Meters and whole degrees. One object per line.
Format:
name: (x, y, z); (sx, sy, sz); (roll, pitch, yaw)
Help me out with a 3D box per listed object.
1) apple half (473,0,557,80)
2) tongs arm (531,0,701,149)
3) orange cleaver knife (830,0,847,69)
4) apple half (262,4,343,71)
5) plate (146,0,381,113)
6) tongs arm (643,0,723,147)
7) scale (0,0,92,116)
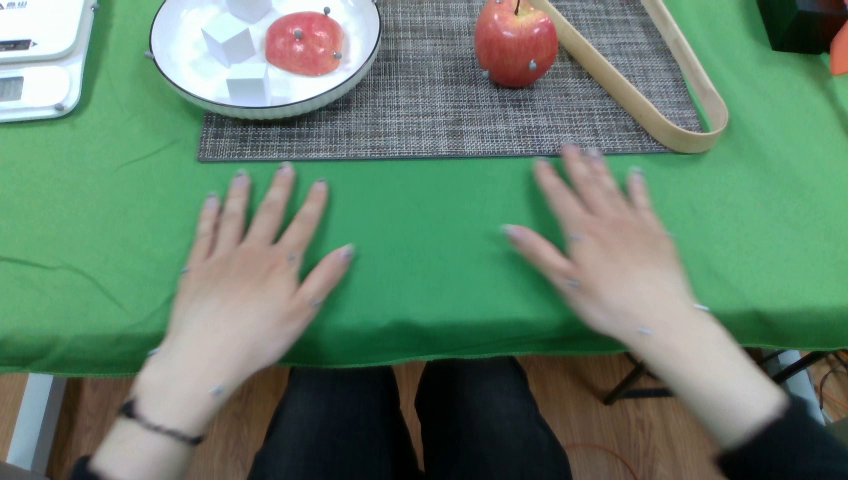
apple half: (0.074, -0.181, 0.547); (0.053, 0.075, 0.080); (-37, 71, -17)
tongs arm: (0.133, -0.230, 0.604); (0.028, 0.028, 0.384); (-23, 64, -19)
orange cleaver knife: (0.410, -0.193, 0.567); (0.012, 0.077, 0.211); (3, 89, -4)
apple half: (-0.114, -0.196, 0.562); (0.081, 0.033, 0.080); (3, 60, -5)
plate: (-0.144, -0.193, 0.564); (0.209, 0.038, 0.207); (1, 60, -2)
tongs arm: (0.212, -0.254, 0.620); (0.051, 0.027, 0.381); (-12, 62, -10)
scale: (-0.392, -0.197, 0.563); (0.149, 0.032, 0.199); (-6, 61, -6)
